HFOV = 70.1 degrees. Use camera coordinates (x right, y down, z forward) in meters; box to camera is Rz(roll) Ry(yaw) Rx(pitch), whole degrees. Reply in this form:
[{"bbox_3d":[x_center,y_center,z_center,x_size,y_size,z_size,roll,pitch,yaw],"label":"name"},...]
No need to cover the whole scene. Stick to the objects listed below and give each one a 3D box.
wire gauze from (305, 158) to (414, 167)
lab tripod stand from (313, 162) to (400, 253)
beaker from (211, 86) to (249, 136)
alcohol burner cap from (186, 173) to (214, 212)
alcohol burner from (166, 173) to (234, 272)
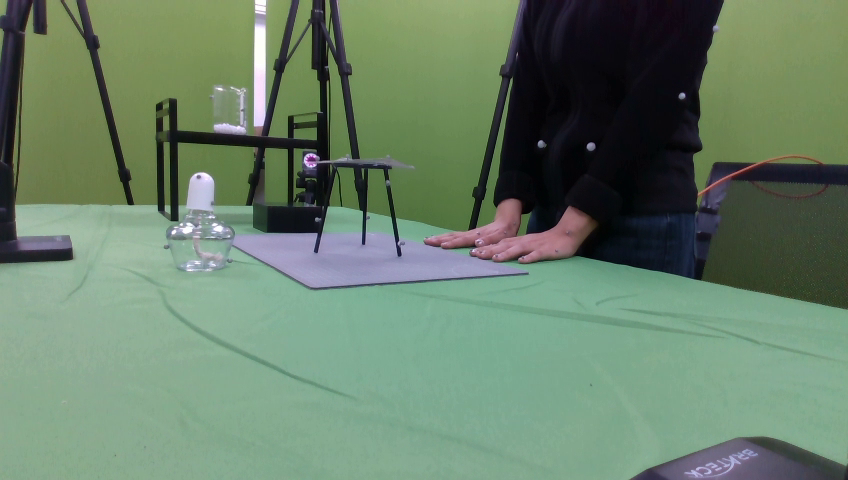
[{"bbox_3d":[-0.092,-0.117,0.894,0.121,0.011,0.125,4,7,19],"label":"wire gauze"},{"bbox_3d":[-0.097,-0.051,0.906,0.148,0.131,0.148,1,6,0],"label":"lab tripod stand"},{"bbox_3d":[-0.413,-0.274,1.297,0.074,0.100,0.083,-5,11,-44],"label":"beaker"},{"bbox_3d":[-0.268,-0.057,0.730,0.034,0.048,0.034,5,2,0],"label":"alcohol burner cap"},{"bbox_3d":[-0.271,-0.022,0.735,0.078,0.119,0.078,2,5,0],"label":"alcohol burner"}]
